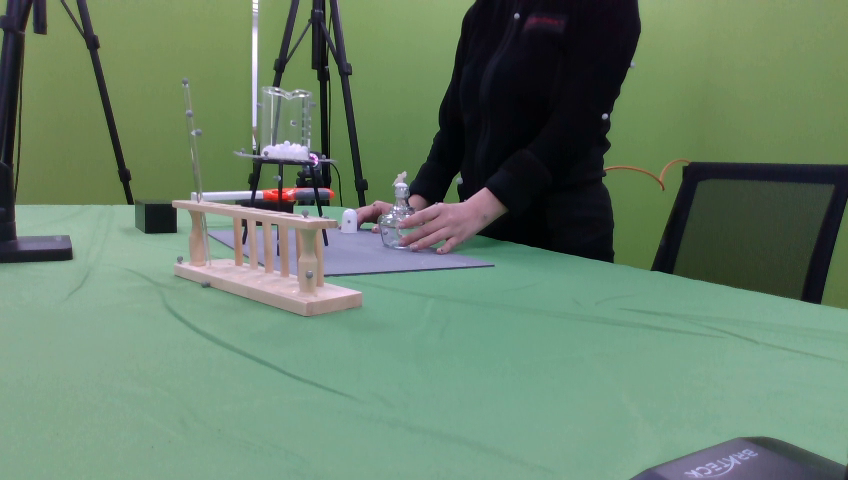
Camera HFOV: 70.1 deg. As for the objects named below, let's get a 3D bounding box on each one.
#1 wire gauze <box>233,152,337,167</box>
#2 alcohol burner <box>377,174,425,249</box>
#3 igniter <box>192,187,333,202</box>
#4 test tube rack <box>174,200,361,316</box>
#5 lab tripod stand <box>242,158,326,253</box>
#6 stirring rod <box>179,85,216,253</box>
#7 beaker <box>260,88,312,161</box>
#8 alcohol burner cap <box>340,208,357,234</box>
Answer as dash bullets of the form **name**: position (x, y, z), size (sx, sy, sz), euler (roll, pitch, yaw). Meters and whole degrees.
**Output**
- **wire gauze**: position (-0.205, -0.119, 0.887), size (0.122, 0.011, 0.124), euler (2, 4, -32)
- **alcohol burner**: position (-0.037, -0.046, 0.970), size (0.078, 0.119, 0.078), euler (1, 6, 0)
- **igniter**: position (-0.316, -0.090, 1.214), size (0.278, 0.025, 0.057), euler (-5, 12, -31)
- **test tube rack**: position (-0.169, 0.009, 0.622), size (0.241, 0.085, 0.067), euler (9, 9, 41)
- **lab tripod stand**: position (-0.207, -0.054, 0.895), size (0.148, 0.131, 0.148), euler (3, 5, 0)
- **stirring rod**: position (-0.237, -0.073, 0.634), size (0.006, 0.176, 0.014), euler (0, 9, 41)
- **beaker**: position (-0.201, -0.166, 0.876), size (0.074, 0.100, 0.083), euler (1, 7, -18)
- **alcohol burner cap**: position (-0.142, -0.035, 1.136), size (0.034, 0.048, 0.034), euler (2, 7, 0)
